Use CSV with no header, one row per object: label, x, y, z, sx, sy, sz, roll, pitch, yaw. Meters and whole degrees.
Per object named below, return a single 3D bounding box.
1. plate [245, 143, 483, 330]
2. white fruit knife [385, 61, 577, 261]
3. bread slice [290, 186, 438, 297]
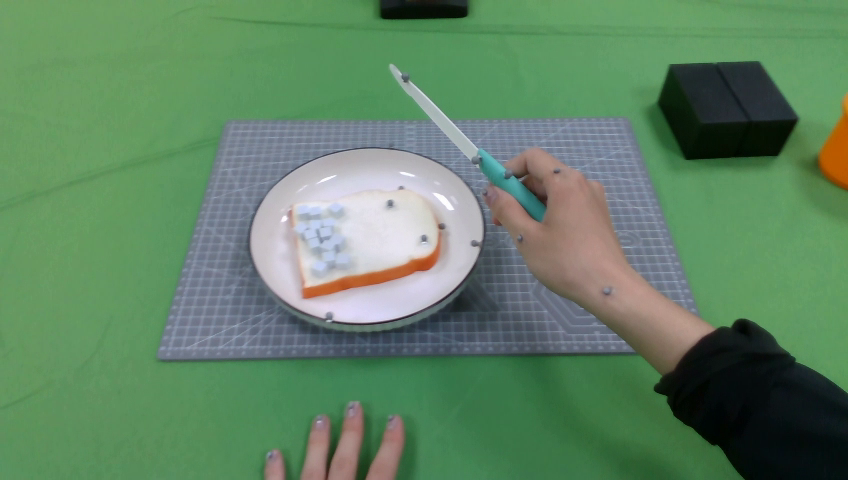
plate,-0.052,-0.005,0.545,0.209,0.038,0.207,1,51,0
white fruit knife,0.043,-0.062,0.463,0.207,0.027,0.016,45,72,0
bread slice,-0.054,-0.007,0.550,0.132,0.019,0.103,-13,53,-9
